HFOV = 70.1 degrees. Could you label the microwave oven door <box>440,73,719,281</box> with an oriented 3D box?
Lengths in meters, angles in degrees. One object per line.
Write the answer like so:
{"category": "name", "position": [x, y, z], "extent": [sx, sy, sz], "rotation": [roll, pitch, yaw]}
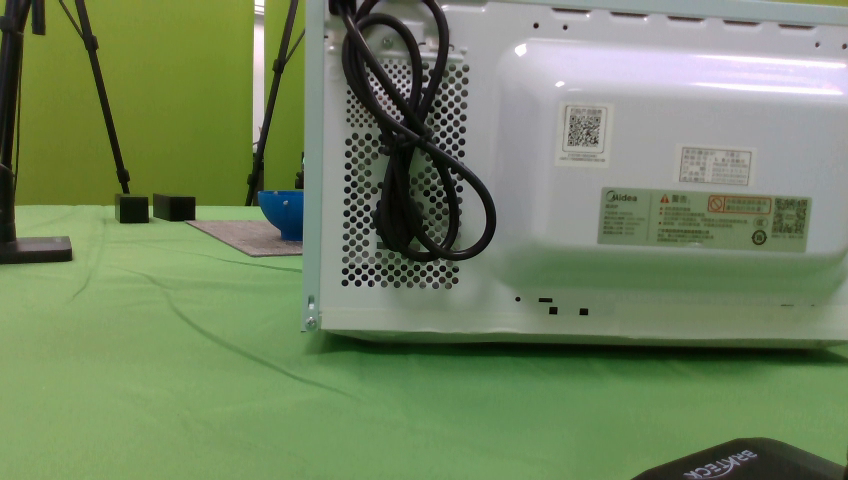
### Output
{"category": "microwave oven door", "position": [0.185, -0.090, 0.800], "extent": [0.354, 0.243, 0.039], "rotation": [7, 7, 33]}

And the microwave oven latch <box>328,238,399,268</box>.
{"category": "microwave oven latch", "position": [-0.069, 0.015, 0.694], "extent": [0.079, 0.029, 0.030], "rotation": [3, 7, -3]}

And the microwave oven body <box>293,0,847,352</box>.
{"category": "microwave oven body", "position": [0.122, -0.055, 0.550], "extent": [0.442, 0.260, 0.325], "rotation": [3, 7, -4]}

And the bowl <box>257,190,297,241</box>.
{"category": "bowl", "position": [-0.206, -0.041, 1.027], "extent": [0.151, 0.077, 0.151], "rotation": [2, 8, 0]}
